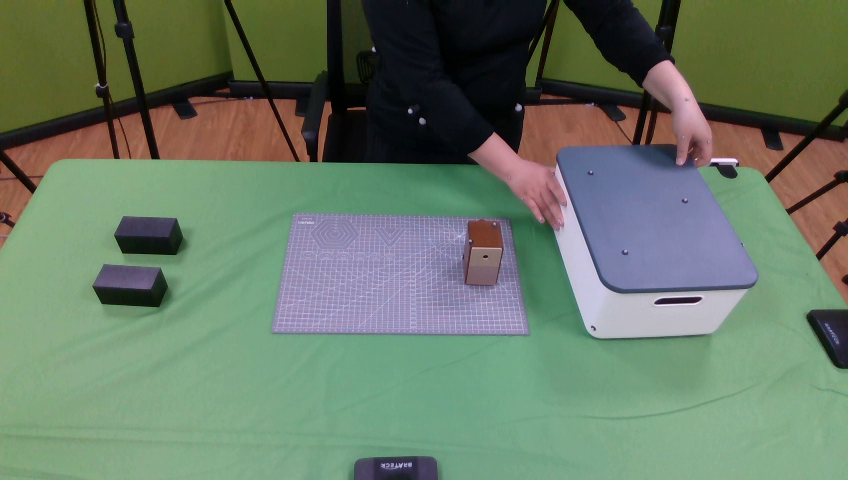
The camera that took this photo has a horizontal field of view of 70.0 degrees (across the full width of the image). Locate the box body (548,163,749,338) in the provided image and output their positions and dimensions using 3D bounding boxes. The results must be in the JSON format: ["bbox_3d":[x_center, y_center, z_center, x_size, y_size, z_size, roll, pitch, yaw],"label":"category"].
[{"bbox_3d":[0.394,-0.001,1.129,0.254,0.161,0.361,-2,46,-5],"label":"box body"}]

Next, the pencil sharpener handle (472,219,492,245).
[{"bbox_3d":[0.104,-0.021,1.145,0.036,0.068,0.030,6,45,-8],"label":"pencil sharpener handle"}]

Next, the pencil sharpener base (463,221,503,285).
[{"bbox_3d":[0.107,0.024,1.119,0.061,0.107,0.076,1,45,-2],"label":"pencil sharpener base"}]

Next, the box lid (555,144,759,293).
[{"bbox_3d":[0.397,-0.051,1.074,0.263,0.015,0.369,-2,46,-5],"label":"box lid"}]
